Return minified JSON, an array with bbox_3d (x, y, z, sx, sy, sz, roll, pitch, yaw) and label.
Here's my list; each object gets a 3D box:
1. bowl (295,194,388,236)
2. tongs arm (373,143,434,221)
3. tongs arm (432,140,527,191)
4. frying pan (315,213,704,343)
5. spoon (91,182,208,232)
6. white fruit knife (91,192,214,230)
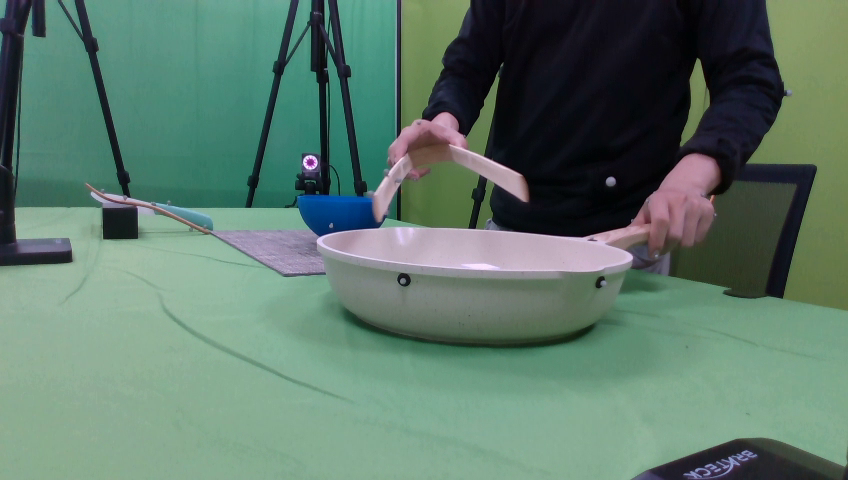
[{"bbox_3d":[-0.132,-0.032,0.980,0.151,0.077,0.151,2,7,0],"label":"bowl"},{"bbox_3d":[-0.015,-0.079,0.702,0.051,0.026,0.384,-13,13,4],"label":"tongs arm"},{"bbox_3d":[0.054,-0.093,0.702,0.028,0.028,0.386,-18,14,-4],"label":"tongs arm"},{"bbox_3d":[0.133,0.014,0.629,0.490,0.102,0.305,-11,14,-29],"label":"frying pan"},{"bbox_3d":[-0.461,-0.053,1.023,0.195,0.021,0.041,21,19,-24],"label":"spoon"},{"bbox_3d":[-0.477,-0.055,1.077,0.208,0.027,0.016,15,-5,-30],"label":"white fruit knife"}]
